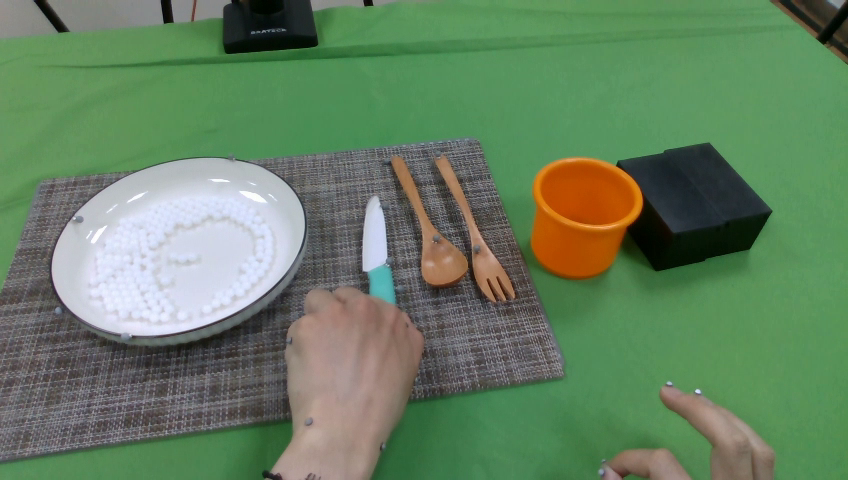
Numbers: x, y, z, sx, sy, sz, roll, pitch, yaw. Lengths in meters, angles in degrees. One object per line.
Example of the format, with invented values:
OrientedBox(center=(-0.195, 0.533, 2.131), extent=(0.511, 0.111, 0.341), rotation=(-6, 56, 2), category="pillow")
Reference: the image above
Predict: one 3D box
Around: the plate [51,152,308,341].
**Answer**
OrientedBox(center=(-0.204, 0.003, 0.527), extent=(0.209, 0.038, 0.207), rotation=(1, 47, -1), category="plate")

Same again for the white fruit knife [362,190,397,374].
OrientedBox(center=(-0.039, 0.023, 0.517), extent=(0.027, 0.016, 0.205), rotation=(-3, 46, -4), category="white fruit knife")

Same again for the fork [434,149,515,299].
OrientedBox(center=(0.040, -0.023, 0.570), extent=(0.028, 0.019, 0.205), rotation=(-14, 51, -6), category="fork")

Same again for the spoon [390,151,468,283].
OrientedBox(center=(-0.003, -0.029, 0.572), extent=(0.041, 0.022, 0.191), rotation=(-24, 50, 2), category="spoon")
